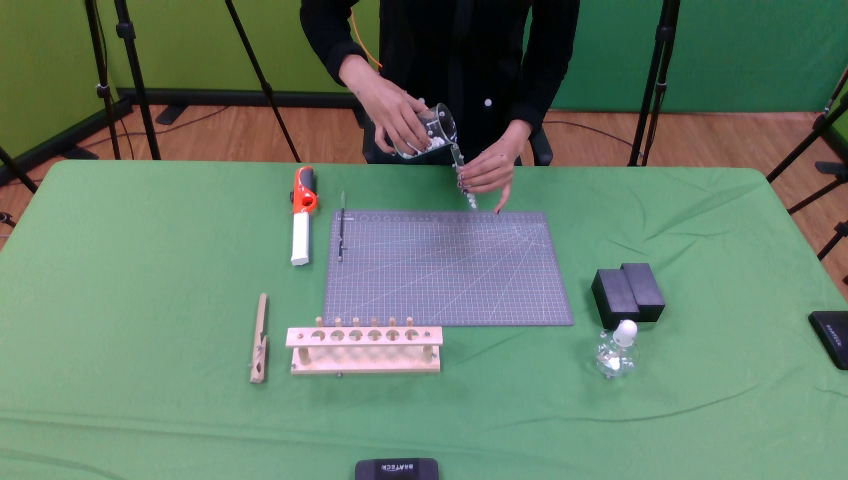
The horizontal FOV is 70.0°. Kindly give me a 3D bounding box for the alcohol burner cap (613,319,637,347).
[{"bbox_3d":[0.323,0.146,0.966,0.034,0.048,0.033,-1,52,2],"label":"alcohol burner cap"}]

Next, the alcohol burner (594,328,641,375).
[{"bbox_3d":[0.322,0.170,0.994,0.078,0.119,0.077,3,48,-3],"label":"alcohol burner"}]

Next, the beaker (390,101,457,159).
[{"bbox_3d":[-0.001,-0.189,1.074,0.100,0.084,0.073,-18,35,27],"label":"beaker"}]

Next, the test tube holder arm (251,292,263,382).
[{"bbox_3d":[-0.282,0.159,1.025,0.013,0.015,0.177,23,36,-33],"label":"test tube holder arm"}]

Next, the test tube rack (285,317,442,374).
[{"bbox_3d":[-0.095,0.166,0.988,0.242,0.085,0.066,0,46,-4],"label":"test tube rack"}]

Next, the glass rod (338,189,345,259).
[{"bbox_3d":[-0.166,-0.037,1.226,0.008,0.008,0.198,-1,47,-4],"label":"glass rod"}]

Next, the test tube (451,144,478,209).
[{"bbox_3d":[0.077,-0.115,1.128,0.017,0.151,0.017,-13,41,12],"label":"test tube"}]

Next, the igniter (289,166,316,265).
[{"bbox_3d":[-0.248,-0.058,1.233,0.057,0.025,0.274,-9,47,1],"label":"igniter"}]

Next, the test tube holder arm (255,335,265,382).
[{"bbox_3d":[-0.270,0.193,0.997,0.010,0.015,0.087,24,36,-32],"label":"test tube holder arm"}]
